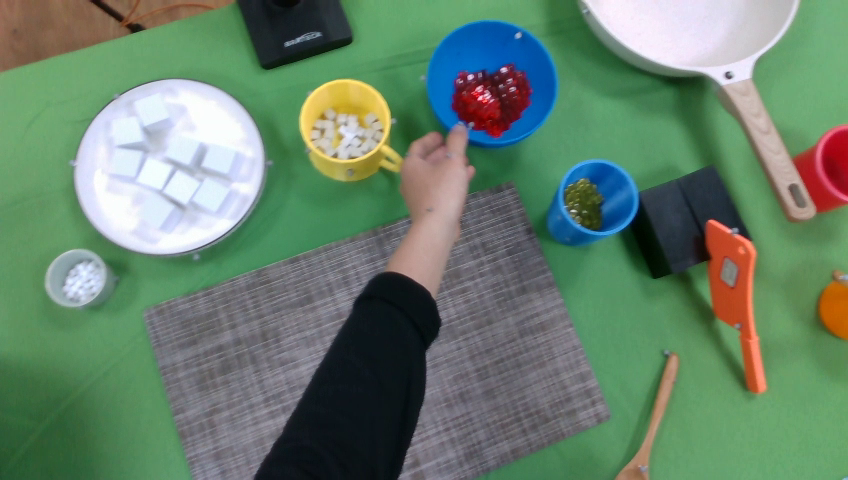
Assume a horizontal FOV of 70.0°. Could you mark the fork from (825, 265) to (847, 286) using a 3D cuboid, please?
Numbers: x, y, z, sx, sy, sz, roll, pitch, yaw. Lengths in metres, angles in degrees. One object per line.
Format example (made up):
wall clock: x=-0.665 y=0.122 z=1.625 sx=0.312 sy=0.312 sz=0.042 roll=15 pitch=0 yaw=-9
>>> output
fork: x=0.475 y=0.055 z=0.671 sx=0.209 sy=0.018 sz=0.028 roll=21 pitch=73 yaw=-45

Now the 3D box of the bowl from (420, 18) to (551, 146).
bowl: x=0.067 y=-0.174 z=0.719 sx=0.151 sy=0.077 sz=0.150 roll=1 pitch=79 yaw=-5

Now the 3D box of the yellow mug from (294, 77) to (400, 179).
yellow mug: x=-0.083 y=-0.119 z=0.701 sx=0.131 sy=0.064 sz=0.099 roll=32 pitch=77 yaw=1

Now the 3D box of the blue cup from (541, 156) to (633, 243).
blue cup: x=0.176 y=-0.037 z=0.689 sx=0.093 sy=0.100 sz=0.092 roll=1 pitch=76 yaw=-5

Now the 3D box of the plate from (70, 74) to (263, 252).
plate: x=-0.287 y=-0.086 z=0.692 sx=0.208 sy=0.039 sz=0.206 roll=1 pitch=79 yaw=-4

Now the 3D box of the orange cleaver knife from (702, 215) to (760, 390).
orange cleaver knife: x=0.349 y=0.073 z=0.692 sx=0.012 sy=0.076 sz=0.212 roll=-20 pitch=110 yaw=-8

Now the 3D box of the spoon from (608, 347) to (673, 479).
spoon: x=0.252 y=0.211 z=0.686 sx=0.041 sy=0.022 sz=0.193 roll=22 pitch=78 yaw=12

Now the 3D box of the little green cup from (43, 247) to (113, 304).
little green cup: x=-0.373 y=0.041 z=0.658 sx=0.061 sy=0.039 sz=0.061 roll=1 pitch=79 yaw=-6

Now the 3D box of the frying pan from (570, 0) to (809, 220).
frying pan: x=0.342 y=-0.245 z=0.742 sx=0.307 sy=0.103 sz=0.484 roll=-15 pitch=72 yaw=-7
